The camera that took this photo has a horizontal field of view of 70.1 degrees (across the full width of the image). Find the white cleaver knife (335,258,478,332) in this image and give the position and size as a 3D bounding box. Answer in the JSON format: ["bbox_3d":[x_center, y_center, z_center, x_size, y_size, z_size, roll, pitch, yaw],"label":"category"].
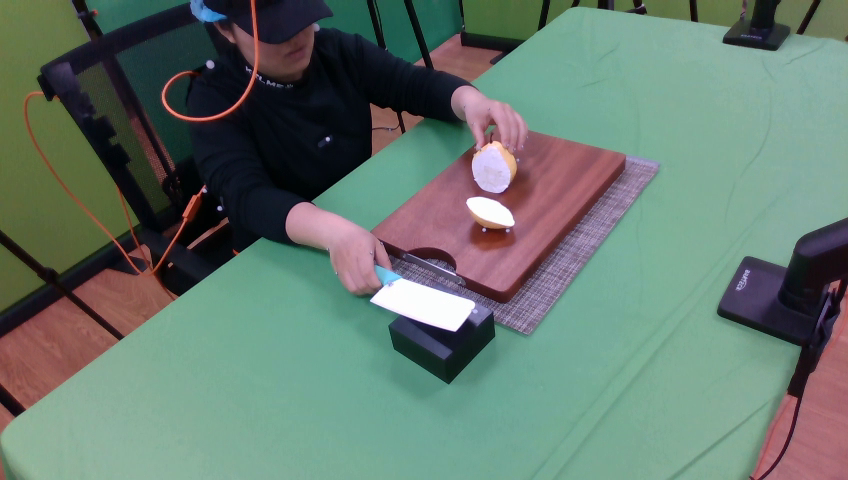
[{"bbox_3d":[-0.042,0.071,0.856,0.284,0.021,0.066,14,43,45],"label":"white cleaver knife"}]

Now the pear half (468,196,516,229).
[{"bbox_3d":[0.106,-0.037,0.957,0.071,0.031,0.087,-22,52,-37],"label":"pear half"}]

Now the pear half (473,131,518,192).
[{"bbox_3d":[0.123,-0.140,1.017,0.076,0.110,0.056,13,45,20],"label":"pear half"}]
